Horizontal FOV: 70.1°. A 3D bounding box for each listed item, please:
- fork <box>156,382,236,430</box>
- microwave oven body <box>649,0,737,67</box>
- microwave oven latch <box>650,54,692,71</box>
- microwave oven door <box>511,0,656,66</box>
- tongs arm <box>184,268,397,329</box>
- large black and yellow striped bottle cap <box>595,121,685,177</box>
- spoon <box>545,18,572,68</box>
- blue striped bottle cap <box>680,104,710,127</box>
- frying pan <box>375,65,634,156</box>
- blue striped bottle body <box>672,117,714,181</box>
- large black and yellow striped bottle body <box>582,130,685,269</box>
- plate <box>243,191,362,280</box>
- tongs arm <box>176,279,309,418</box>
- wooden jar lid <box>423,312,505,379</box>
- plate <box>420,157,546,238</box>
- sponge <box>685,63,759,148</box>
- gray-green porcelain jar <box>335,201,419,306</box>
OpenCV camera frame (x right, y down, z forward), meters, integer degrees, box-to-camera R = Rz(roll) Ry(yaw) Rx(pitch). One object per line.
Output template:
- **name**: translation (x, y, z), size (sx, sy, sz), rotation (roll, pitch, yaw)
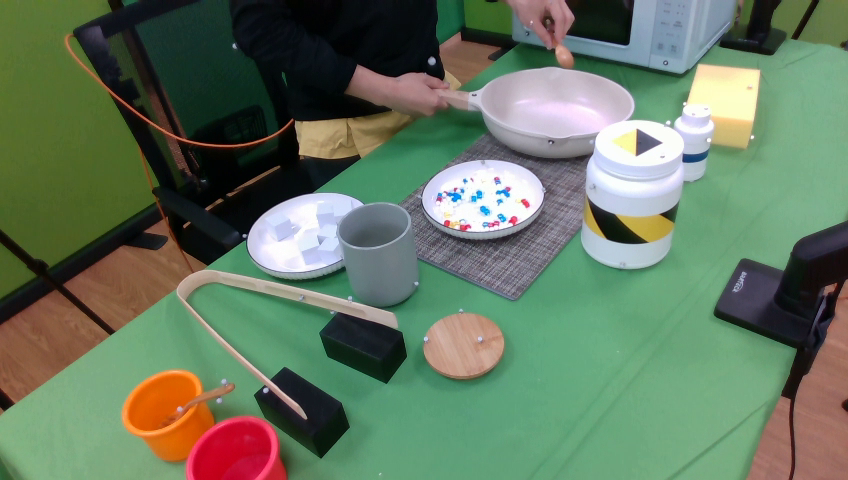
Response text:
- **fork**: translation (-0.262, 0.189, 0.690), size (0.018, 0.206, 0.028), rotation (49, 43, -7)
- **microwave oven body**: translation (0.475, -0.602, 1.411), size (0.438, 0.261, 0.327), rotation (23, 50, 32)
- **microwave oven latch**: translation (0.531, -0.386, 1.301), size (0.078, 0.029, 0.030), rotation (25, 51, 32)
- **microwave oven door**: translation (0.351, -0.540, 1.349), size (0.353, 0.245, 0.039), rotation (24, 50, 31)
- **tongs arm**: translation (-0.202, 0.084, 0.848), size (0.382, 0.027, 0.051), rotation (11, 45, 35)
- **large black and yellow striped bottle cap**: translation (0.292, -0.126, 0.821), size (0.115, 0.019, 0.114), rotation (-5, 40, 4)
- **spoon**: translation (0.247, -0.376, 1.140), size (0.042, 0.021, 0.192), rotation (24, 34, -22)
- **blue striped bottle cap**: translation (0.443, -0.205, 0.989), size (0.044, 0.021, 0.044), rotation (-1, 41, 2)
- **frying pan**: translation (0.147, -0.268, 1.170), size (0.488, 0.103, 0.306), rotation (10, 38, 1)
- **blue striped bottle body**: translation (0.449, -0.165, 1.022), size (0.063, 0.121, 0.063), rotation (-5, 41, 4)
- **large black and yellow striped bottle body**: translation (0.301, -0.063, 0.877), size (0.131, 0.185, 0.130), rotation (-4, 41, 4)
- **plate**: translation (-0.188, -0.005, 0.992), size (0.207, 0.039, 0.206), rotation (-4, 40, 4)
- **tongs arm**: translation (-0.254, 0.132, 0.801), size (0.028, 0.028, 0.384), rotation (-41, 40, -23)
- **wooden jar lid**: translation (0.053, 0.142, 0.800), size (0.108, 0.021, 0.108), rotation (-5, 39, 4)
- **plate**: translation (0.099, -0.067, 1.017), size (0.209, 0.038, 0.208), rotation (-4, 40, 4)
- **sponge**: translation (0.569, -0.263, 1.164), size (0.117, 0.061, 0.207), rotation (12, 45, 22)
- **gray-green porcelain jar**: translation (-0.064, 0.024, 0.872), size (0.106, 0.127, 0.105), rotation (-4, 41, 4)
